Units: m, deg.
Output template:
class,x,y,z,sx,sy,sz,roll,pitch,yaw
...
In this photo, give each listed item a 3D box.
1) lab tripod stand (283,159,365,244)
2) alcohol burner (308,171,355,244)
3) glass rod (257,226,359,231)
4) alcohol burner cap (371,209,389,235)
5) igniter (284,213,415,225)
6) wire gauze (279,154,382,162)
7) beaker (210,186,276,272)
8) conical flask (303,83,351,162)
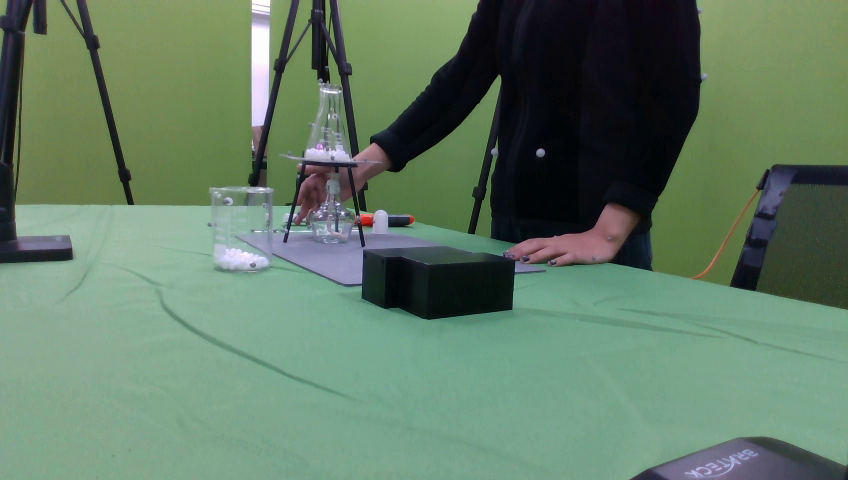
class,x,y,z,sx,sy,sz,roll,pitch,yaw
lab tripod stand,-0.151,-0.063,0.983,0.148,0.131,0.148,4,7,0
alcohol burner,-0.151,-0.054,0.993,0.078,0.119,0.078,2,6,0
glass rod,-0.216,-0.022,1.151,0.201,0.008,0.008,-2,8,-28
alcohol burner cap,-0.082,-0.035,1.143,0.034,0.048,0.034,3,6,0
igniter,-0.154,-0.045,1.282,0.278,0.025,0.057,0,-3,-20
wire gauze,-0.149,-0.128,0.974,0.124,0.011,0.122,6,5,41
beaker,-0.224,-0.014,0.738,0.084,0.100,0.074,4,7,16
conical flask,-0.151,-0.186,0.963,0.075,0.122,0.075,4,6,0
